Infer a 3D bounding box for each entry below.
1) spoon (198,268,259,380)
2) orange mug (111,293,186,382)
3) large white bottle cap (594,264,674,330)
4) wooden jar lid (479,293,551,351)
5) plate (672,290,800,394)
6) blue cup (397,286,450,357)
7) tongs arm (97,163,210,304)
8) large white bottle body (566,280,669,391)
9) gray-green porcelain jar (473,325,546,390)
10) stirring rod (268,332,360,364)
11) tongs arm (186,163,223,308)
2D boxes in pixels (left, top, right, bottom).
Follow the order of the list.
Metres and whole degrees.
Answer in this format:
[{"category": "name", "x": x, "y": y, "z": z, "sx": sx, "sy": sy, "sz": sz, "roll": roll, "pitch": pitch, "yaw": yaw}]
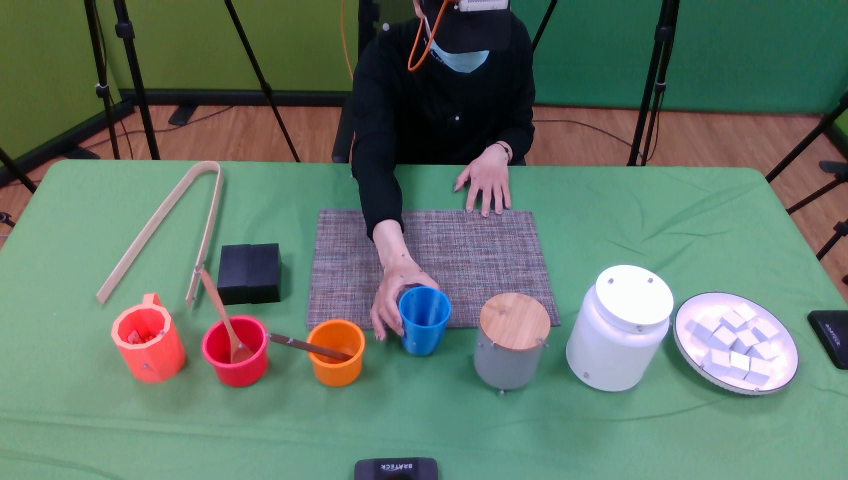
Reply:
[{"category": "spoon", "x": -0.313, "y": 0.133, "z": 0.962, "sx": 0.041, "sy": 0.021, "sz": 0.194, "roll": -24, "pitch": 96, "yaw": -22}, {"category": "orange mug", "x": -0.435, "y": 0.149, "z": 0.969, "sx": 0.083, "sy": 0.101, "sz": 0.125, "roll": -5, "pitch": 51, "yaw": -8}, {"category": "large white bottle cap", "x": 0.314, "y": 0.083, "z": 0.906, "sx": 0.115, "sy": 0.018, "sz": 0.114, "roll": 2, "pitch": 46, "yaw": -2}, {"category": "wooden jar lid", "x": 0.138, "y": 0.127, "z": 0.925, "sx": 0.108, "sy": 0.021, "sz": 0.107, "roll": 1, "pitch": 47, "yaw": -1}, {"category": "plate", "x": 0.533, "y": 0.179, "z": 1.050, "sx": 0.208, "sy": 0.039, "sz": 0.206, "roll": 2, "pitch": 46, "yaw": -2}, {"category": "blue cup", "x": -0.005, "y": 0.141, "z": 0.999, "sx": 0.093, "sy": 0.100, "sz": 0.092, "roll": 4, "pitch": 46, "yaw": -4}, {"category": "tongs arm", "x": -0.520, "y": -0.027, "z": 1.183, "sx": 0.028, "sy": 0.028, "sz": 0.385, "roll": 5, "pitch": 45, "yaw": 12}, {"category": "large white bottle body", "x": 0.309, "y": 0.142, "z": 0.968, "sx": 0.131, "sy": 0.185, "sz": 0.130, "roll": 2, "pitch": 46, "yaw": -2}, {"category": "gray-green porcelain jar", "x": 0.135, "y": 0.170, "z": 0.969, "sx": 0.106, "sy": 0.127, "sz": 0.105, "roll": 2, "pitch": 46, "yaw": -2}, {"category": "stirring rod", "x": -0.167, "y": 0.169, "z": 0.941, "sx": 0.177, "sy": 0.006, "sz": 0.014, "roll": 26, "pitch": 27, "yaw": -41}, {"category": "tongs arm", "x": -0.436, "y": -0.024, "z": 1.181, "sx": 0.051, "sy": 0.027, "sz": 0.382, "roll": -3, "pitch": 45, "yaw": 0}]
